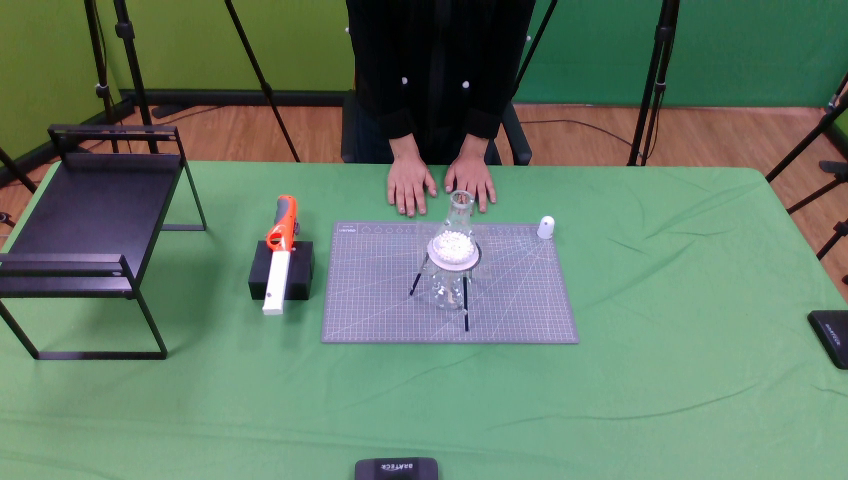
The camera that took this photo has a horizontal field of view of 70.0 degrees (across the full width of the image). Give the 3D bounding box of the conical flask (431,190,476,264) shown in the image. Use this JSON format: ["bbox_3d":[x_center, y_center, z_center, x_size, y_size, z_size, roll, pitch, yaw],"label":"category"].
[{"bbox_3d":[0.052,-0.025,0.971,0.075,0.122,0.075,3,48,-3],"label":"conical flask"}]

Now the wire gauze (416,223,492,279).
[{"bbox_3d":[0.048,0.016,1.015,0.125,0.011,0.120,1,45,-1],"label":"wire gauze"}]

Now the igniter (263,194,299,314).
[{"bbox_3d":[-0.259,0.016,1.093,0.057,0.025,0.274,-3,49,-2],"label":"igniter"}]

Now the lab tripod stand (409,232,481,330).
[{"bbox_3d":[0.051,0.064,1.060,0.148,0.132,0.147,4,46,-4],"label":"lab tripod stand"}]

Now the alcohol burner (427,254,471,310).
[{"bbox_3d":[0.046,0.068,1.070,0.078,0.119,0.077,3,45,-3],"label":"alcohol burner"}]

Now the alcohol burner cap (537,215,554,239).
[{"bbox_3d":[0.249,-0.029,1.228,0.034,0.048,0.033,1,48,-1],"label":"alcohol burner cap"}]
